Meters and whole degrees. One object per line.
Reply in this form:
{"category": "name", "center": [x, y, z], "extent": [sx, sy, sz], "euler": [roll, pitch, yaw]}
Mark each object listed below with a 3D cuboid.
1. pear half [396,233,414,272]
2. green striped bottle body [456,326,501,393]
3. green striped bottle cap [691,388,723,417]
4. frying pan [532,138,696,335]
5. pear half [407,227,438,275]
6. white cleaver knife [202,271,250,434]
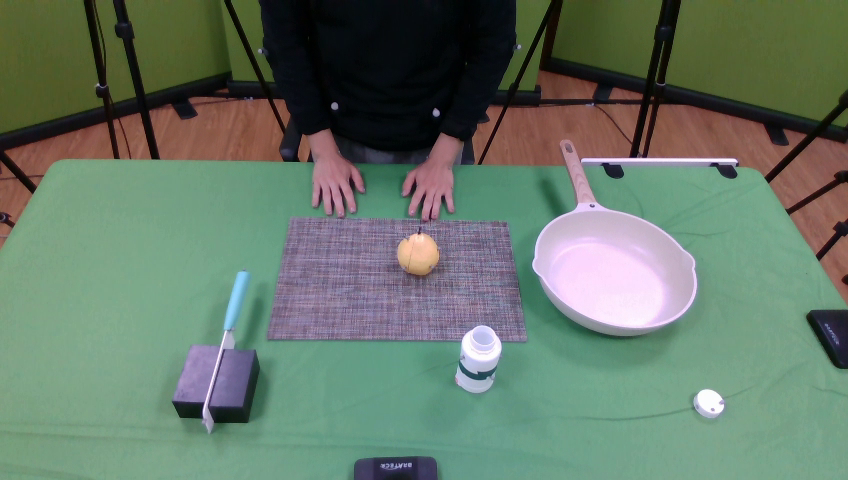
{"category": "pear half", "center": [-0.037, 0.019, 1.125], "extent": [0.031, 0.088, 0.070], "euler": [5, 50, -1]}
{"category": "green striped bottle body", "center": [0.086, 0.185, 0.959], "extent": [0.063, 0.120, 0.063], "euler": [2, 46, -2]}
{"category": "green striped bottle cap", "center": [0.460, 0.263, 0.984], "extent": [0.044, 0.020, 0.044], "euler": [3, 46, -3]}
{"category": "frying pan", "center": [0.336, -0.024, 1.190], "extent": [0.307, 0.103, 0.484], "euler": [-2, 55, -7]}
{"category": "pear half", "center": [0.000, 0.016, 1.117], "extent": [0.056, 0.110, 0.076], "euler": [4, 51, 0]}
{"category": "white cleaver knife", "center": [-0.322, 0.168, 0.980], "extent": [0.021, 0.066, 0.284], "euler": [7, 48, -6]}
